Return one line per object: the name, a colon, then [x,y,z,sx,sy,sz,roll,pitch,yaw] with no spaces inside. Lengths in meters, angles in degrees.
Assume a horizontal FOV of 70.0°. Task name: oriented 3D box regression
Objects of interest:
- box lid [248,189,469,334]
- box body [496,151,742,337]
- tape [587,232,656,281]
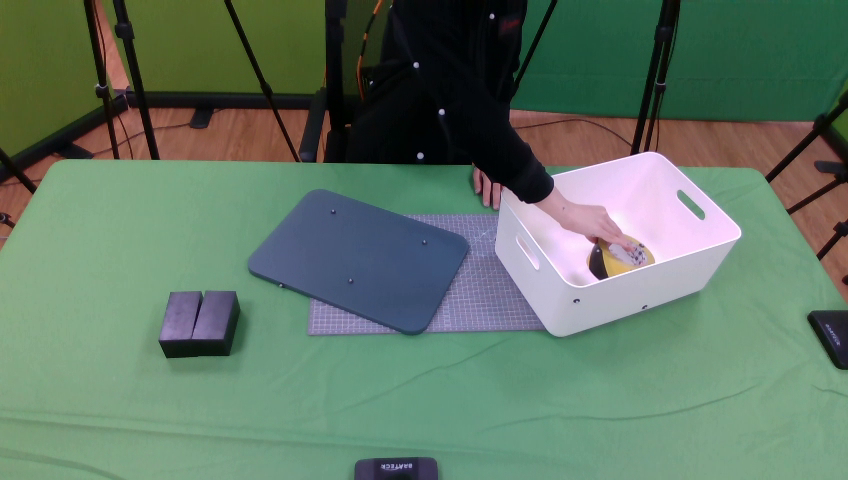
box lid: [-0.123,0.028,1.168,0.371,0.015,0.262,19,47,14]
box body: [0.340,0.003,1.118,0.364,0.161,0.252,-15,49,-18]
tape: [0.362,0.039,1.112,0.117,0.053,0.116,12,38,-10]
